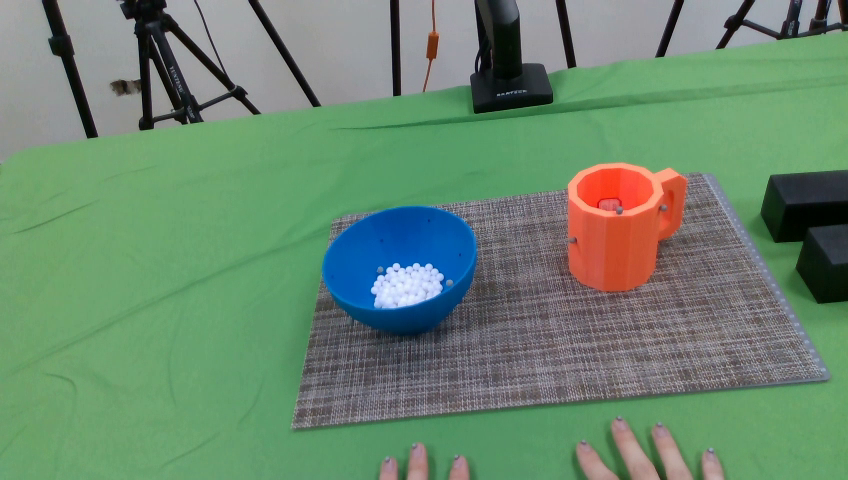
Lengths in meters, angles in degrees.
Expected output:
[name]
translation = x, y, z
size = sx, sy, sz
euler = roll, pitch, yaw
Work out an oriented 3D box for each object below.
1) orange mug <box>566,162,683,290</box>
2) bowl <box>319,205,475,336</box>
[orange mug]
translation = 0.199, -0.021, 0.602
size = 0.126, 0.102, 0.082
euler = -25, 42, -9
[bowl]
translation = -0.020, 0.041, 0.598
size = 0.151, 0.077, 0.150
euler = -7, 40, 6
